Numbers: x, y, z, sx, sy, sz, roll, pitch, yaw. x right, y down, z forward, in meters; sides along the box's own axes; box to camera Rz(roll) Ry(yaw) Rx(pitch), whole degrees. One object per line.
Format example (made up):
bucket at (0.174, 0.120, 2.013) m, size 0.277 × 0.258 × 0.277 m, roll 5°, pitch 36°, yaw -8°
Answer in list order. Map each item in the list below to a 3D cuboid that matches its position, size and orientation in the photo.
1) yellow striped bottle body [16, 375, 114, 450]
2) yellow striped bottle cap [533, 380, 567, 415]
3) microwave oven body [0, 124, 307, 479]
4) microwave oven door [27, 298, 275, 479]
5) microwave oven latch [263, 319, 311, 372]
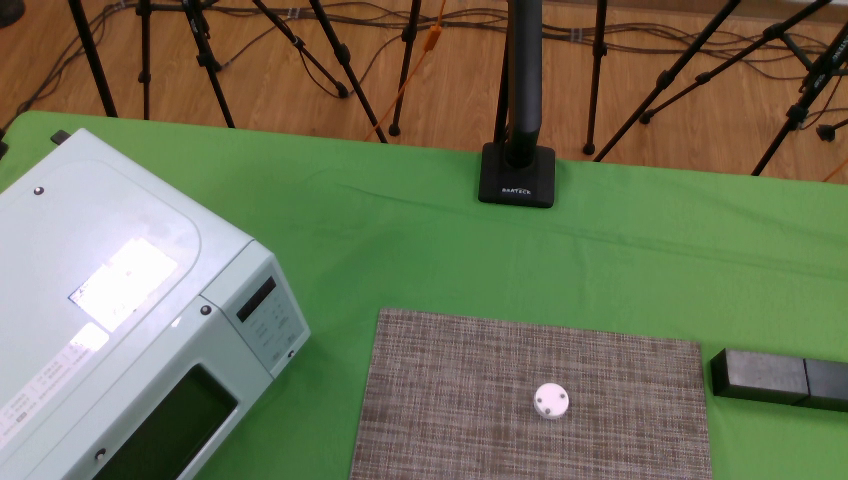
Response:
yellow striped bottle body at (-0.404, 0.192, 0.679) m, size 0.063 × 0.121 × 0.062 m, roll 1°, pitch 59°, yaw -1°
yellow striped bottle cap at (0.166, 0.208, 0.799) m, size 0.044 × 0.019 × 0.044 m, roll -1°, pitch 60°, yaw 2°
microwave oven body at (-0.409, 0.144, 0.696) m, size 0.324 × 0.262 × 0.440 m, roll 31°, pitch 66°, yaw 16°
microwave oven door at (-0.312, 0.243, 0.635) m, size 0.039 × 0.246 × 0.355 m, roll 30°, pitch 65°, yaw 17°
microwave oven latch at (-0.185, 0.136, 0.811) m, size 0.030 × 0.030 × 0.079 m, roll 33°, pitch 67°, yaw 16°
